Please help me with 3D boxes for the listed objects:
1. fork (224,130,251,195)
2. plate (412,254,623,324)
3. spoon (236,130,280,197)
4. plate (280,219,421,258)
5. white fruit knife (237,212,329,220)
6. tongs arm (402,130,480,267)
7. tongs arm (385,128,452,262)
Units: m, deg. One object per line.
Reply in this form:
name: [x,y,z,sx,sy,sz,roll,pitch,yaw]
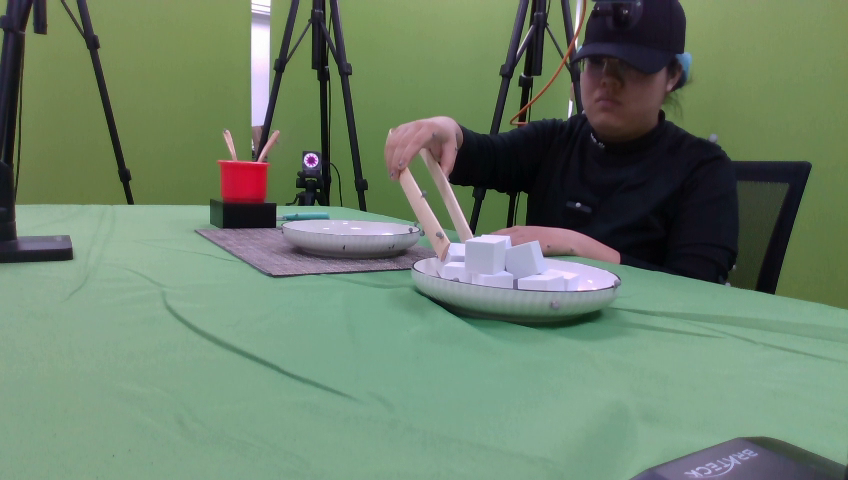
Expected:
fork: [-0.372,-0.155,1.193,0.028,0.018,0.206,-17,54,-13]
plate: [0.090,0.047,0.609,0.209,0.038,0.209,2,7,0]
spoon: [-0.321,-0.154,1.192,0.041,0.193,0.022,1,-37,19]
plate: [-0.108,-0.002,0.902,0.208,0.039,0.207,3,7,0]
white fruit knife: [-0.304,-0.050,1.328,0.208,0.016,0.027,-3,-19,-29]
tongs arm: [0.016,-0.072,0.812,0.028,0.028,0.386,6,27,-16]
tongs arm: [-0.006,-0.076,0.804,0.051,0.026,0.383,8,27,-21]
